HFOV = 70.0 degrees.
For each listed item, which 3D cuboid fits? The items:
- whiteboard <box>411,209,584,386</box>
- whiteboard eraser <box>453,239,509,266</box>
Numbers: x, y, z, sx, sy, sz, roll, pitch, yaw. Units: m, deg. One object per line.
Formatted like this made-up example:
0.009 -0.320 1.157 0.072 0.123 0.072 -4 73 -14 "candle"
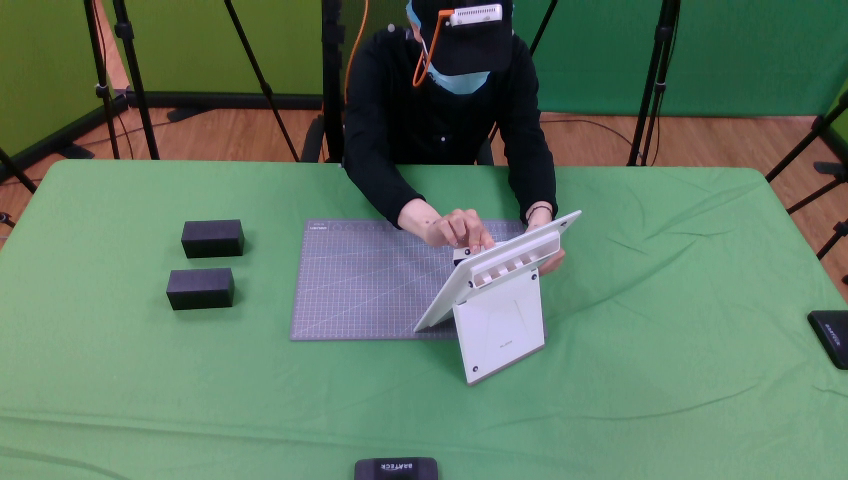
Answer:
0.134 0.110 0.944 0.217 0.306 0.143 -21 72 -23 "whiteboard"
0.108 0.027 0.993 0.112 0.056 0.041 -10 68 23 "whiteboard eraser"
